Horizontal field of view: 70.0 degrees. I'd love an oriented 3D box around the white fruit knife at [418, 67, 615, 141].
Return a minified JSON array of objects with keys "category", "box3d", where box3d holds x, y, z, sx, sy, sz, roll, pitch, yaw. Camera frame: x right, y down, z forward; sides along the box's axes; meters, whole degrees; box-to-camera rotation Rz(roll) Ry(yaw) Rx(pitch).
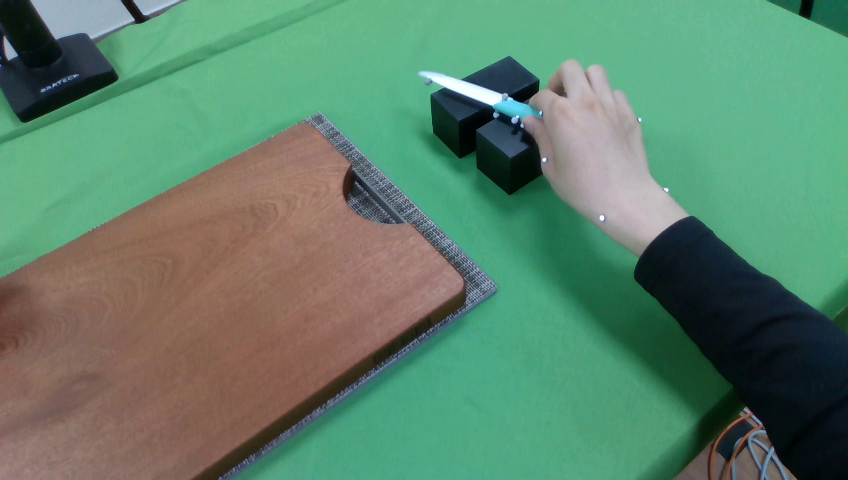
[{"category":"white fruit knife","box3d":[0.080,-0.133,0.577,0.206,0.016,0.027,25,50,24]}]
